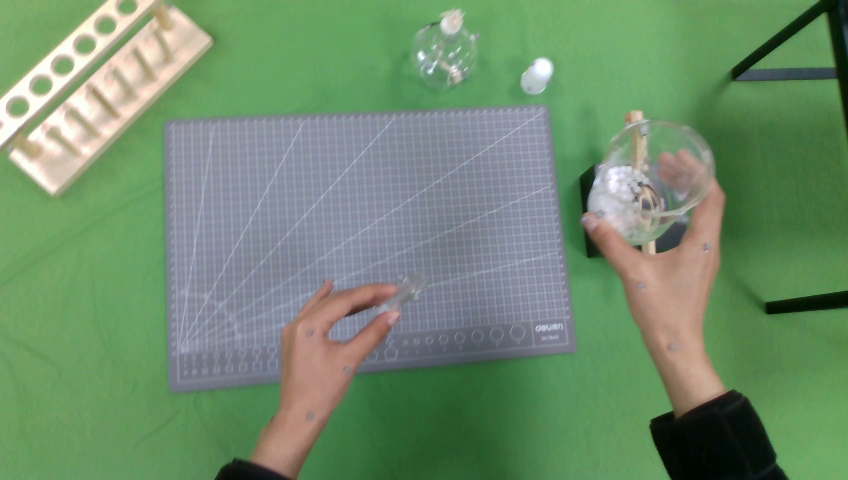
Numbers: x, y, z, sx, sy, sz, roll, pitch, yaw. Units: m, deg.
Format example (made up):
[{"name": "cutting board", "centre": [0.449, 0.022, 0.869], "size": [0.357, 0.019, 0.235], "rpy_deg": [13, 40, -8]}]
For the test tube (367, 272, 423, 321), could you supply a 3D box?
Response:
[{"name": "test tube", "centre": [-0.028, 0.052, 0.531], "size": [0.017, 0.150, 0.017], "rpy_deg": [5, 72, -16]}]

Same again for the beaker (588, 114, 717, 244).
[{"name": "beaker", "centre": [0.169, -0.040, 0.474], "size": [0.084, 0.101, 0.073], "rpy_deg": [-20, 74, 0]}]

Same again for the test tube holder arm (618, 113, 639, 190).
[{"name": "test tube holder arm", "centre": [0.233, -0.100, 0.687], "size": [0.010, 0.015, 0.087], "rpy_deg": [-3, 81, -14]}]

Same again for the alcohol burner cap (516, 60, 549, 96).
[{"name": "alcohol burner cap", "centre": [0.133, -0.197, 0.730], "size": [0.034, 0.048, 0.033], "rpy_deg": [1, 79, -6]}]

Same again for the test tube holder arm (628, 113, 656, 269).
[{"name": "test tube holder arm", "centre": [0.243, -0.056, 0.682], "size": [0.013, 0.015, 0.178], "rpy_deg": [-4, 82, -14]}]

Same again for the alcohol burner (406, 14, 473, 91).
[{"name": "alcohol burner", "centre": [0.020, -0.218, 0.685], "size": [0.078, 0.119, 0.077], "rpy_deg": [2, 78, -8]}]

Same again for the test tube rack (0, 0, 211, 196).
[{"name": "test tube rack", "centre": [-0.348, -0.166, 0.648], "size": [0.066, 0.085, 0.242], "rpy_deg": [40, 79, 2]}]
